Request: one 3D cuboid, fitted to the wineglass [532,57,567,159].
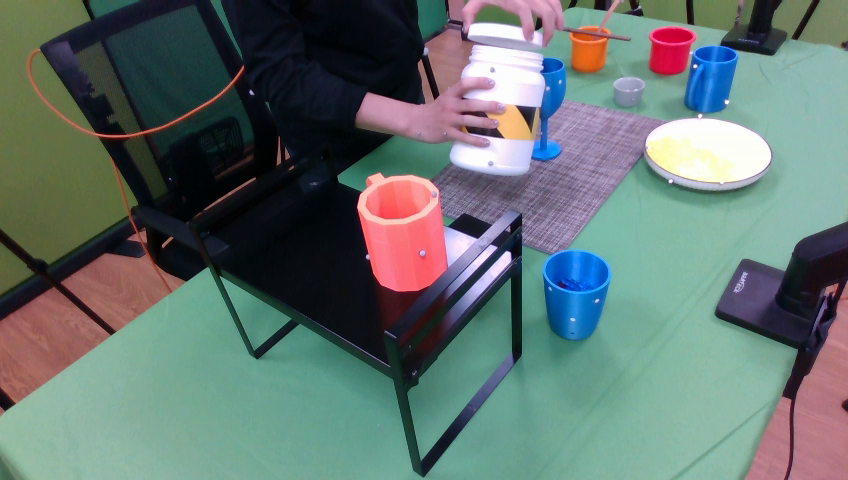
[{"bbox_3d":[0.221,-0.237,1.097,0.074,0.173,0.073,-4,41,4],"label":"wineglass"}]

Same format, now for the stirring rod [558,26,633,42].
[{"bbox_3d":[0.381,-0.463,1.356,0.175,0.006,0.014,22,47,30],"label":"stirring rod"}]

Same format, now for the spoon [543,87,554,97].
[{"bbox_3d":[0.227,-0.285,1.269,0.041,0.022,0.194,2,36,45],"label":"spoon"}]

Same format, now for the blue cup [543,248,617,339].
[{"bbox_3d":[0.199,0.076,0.797,0.092,0.100,0.092,-4,39,4],"label":"blue cup"}]

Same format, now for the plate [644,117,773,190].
[{"bbox_3d":[0.495,-0.149,1.063,0.209,0.038,0.208,-5,40,4],"label":"plate"}]

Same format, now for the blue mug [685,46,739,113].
[{"bbox_3d":[0.556,-0.310,1.190,0.117,0.106,0.081,-32,46,-25],"label":"blue mug"}]

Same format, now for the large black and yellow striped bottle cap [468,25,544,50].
[{"bbox_3d":[0.124,-0.306,0.916,0.115,0.019,0.115,7,11,-1],"label":"large black and yellow striped bottle cap"}]

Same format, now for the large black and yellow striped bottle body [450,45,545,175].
[{"bbox_3d":[0.117,-0.204,0.950,0.131,0.184,0.130,7,16,-2],"label":"large black and yellow striped bottle body"}]

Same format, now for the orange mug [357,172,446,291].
[{"bbox_3d":[-0.030,-0.019,0.668,0.084,0.101,0.125,-23,47,-16],"label":"orange mug"}]

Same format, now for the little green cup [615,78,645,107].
[{"bbox_3d":[0.426,-0.306,1.257,0.061,0.039,0.061,-4,40,4],"label":"little green cup"}]

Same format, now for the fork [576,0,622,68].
[{"bbox_3d":[0.409,-0.484,1.381,0.028,0.019,0.207,37,101,45],"label":"fork"}]
